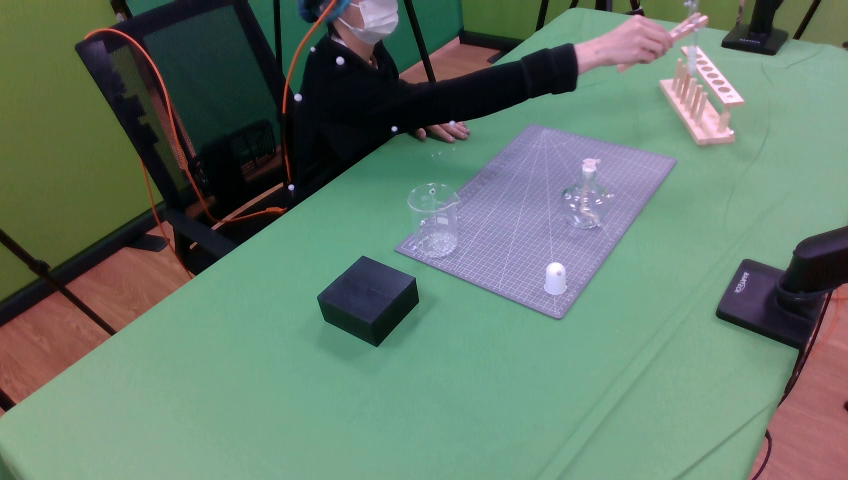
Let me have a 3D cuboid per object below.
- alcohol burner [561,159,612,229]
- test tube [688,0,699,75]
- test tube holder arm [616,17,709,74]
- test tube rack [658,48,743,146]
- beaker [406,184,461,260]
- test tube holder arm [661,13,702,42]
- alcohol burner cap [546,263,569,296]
[{"bbox_3d":[0.257,-0.077,0.951,0.078,0.119,0.077,-3,40,3],"label":"alcohol burner"},{"bbox_3d":[0.467,-0.348,1.047,0.017,0.151,0.017,-12,50,15],"label":"test tube"},{"bbox_3d":[0.402,-0.328,1.019,0.178,0.015,0.013,-30,52,-4],"label":"test tube holder arm"},{"bbox_3d":[0.532,-0.284,1.180,0.067,0.085,0.241,-5,40,4],"label":"test tube rack"},{"bbox_3d":[0.019,-0.026,0.939,0.084,0.101,0.074,1,41,9],"label":"beaker"},{"bbox_3d":[0.437,-0.356,1.027,0.088,0.015,0.010,-37,54,-9],"label":"test tube holder arm"},{"bbox_3d":[0.191,0.053,0.862,0.034,0.048,0.033,-5,40,4],"label":"alcohol burner cap"}]
